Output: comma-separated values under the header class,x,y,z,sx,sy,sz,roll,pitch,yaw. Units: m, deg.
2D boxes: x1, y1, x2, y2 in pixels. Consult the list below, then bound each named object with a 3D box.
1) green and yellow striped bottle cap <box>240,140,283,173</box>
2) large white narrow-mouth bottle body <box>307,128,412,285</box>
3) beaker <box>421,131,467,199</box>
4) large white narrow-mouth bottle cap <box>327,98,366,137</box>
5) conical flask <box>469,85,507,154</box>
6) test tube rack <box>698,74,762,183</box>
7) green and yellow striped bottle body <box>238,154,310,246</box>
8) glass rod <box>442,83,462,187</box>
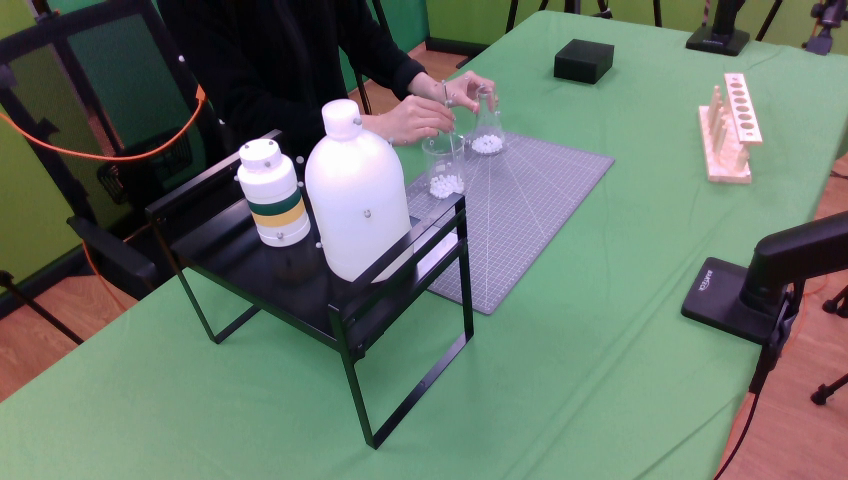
class,x,y,z,sx,sy,sz,roll,pitch,yaw
green and yellow striped bottle cap,-0.183,-0.094,0.679,0.045,0.020,0.045,-5,38,4
large white narrow-mouth bottle body,-0.070,-0.051,0.638,0.102,0.195,0.101,-3,40,3
beaker,0.040,-0.130,1.060,0.084,0.100,0.073,-24,44,-20
large white narrow-mouth bottle cap,-0.075,-0.118,0.582,0.038,0.024,0.037,-3,40,3
conical flask,0.120,-0.231,1.148,0.075,0.122,0.075,-4,41,4
test tube rack,0.547,-0.208,1.095,0.066,0.085,0.242,5,42,15
green and yellow striped bottle body,-0.178,-0.056,0.714,0.063,0.120,0.063,-4,40,4
glass rod,0.049,-0.171,1.015,0.008,0.201,0.008,-7,39,7
